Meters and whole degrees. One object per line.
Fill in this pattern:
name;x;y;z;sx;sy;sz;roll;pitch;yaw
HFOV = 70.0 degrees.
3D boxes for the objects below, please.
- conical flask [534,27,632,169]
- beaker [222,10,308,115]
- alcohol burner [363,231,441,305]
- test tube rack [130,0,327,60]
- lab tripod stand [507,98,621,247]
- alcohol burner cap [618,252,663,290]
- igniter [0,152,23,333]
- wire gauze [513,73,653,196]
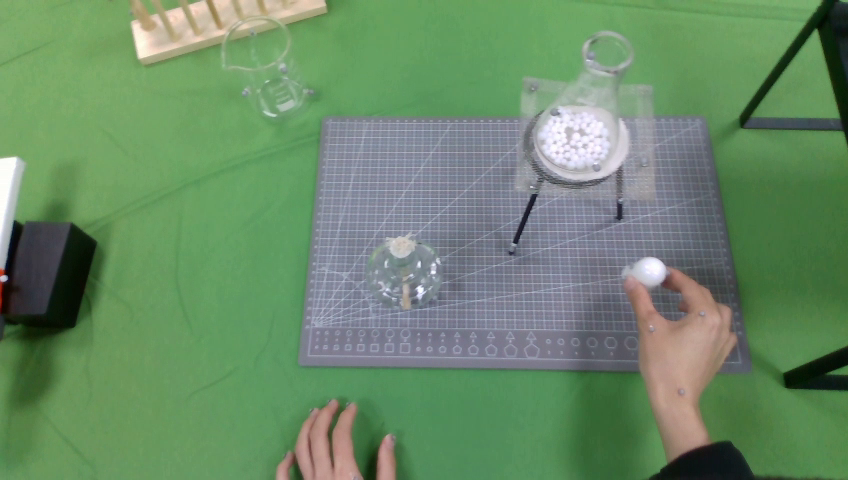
conical flask;0.134;-0.117;0.493;0.075;0.123;0.075;0;67;1
beaker;-0.179;-0.196;0.692;0.084;0.101;0.073;-39;71;-13
alcohol burner;-0.022;0.021;0.588;0.078;0.120;0.077;0;66;0
test tube rack;-0.251;-0.308;0.747;0.242;0.086;0.066;-18;68;-6
lab tripod stand;0.140;-0.068;0.609;0.148;0.132;0.147;0;66;0
alcohol burner cap;0.208;0.027;0.576;0.034;0.048;0.033;1;73;-3
igniter;-0.434;0.036;0.593;0.057;0.025;0.274;-8;67;4
wire gauze;0.145;-0.097;0.549;0.121;0.011;0.124;7;66;2
